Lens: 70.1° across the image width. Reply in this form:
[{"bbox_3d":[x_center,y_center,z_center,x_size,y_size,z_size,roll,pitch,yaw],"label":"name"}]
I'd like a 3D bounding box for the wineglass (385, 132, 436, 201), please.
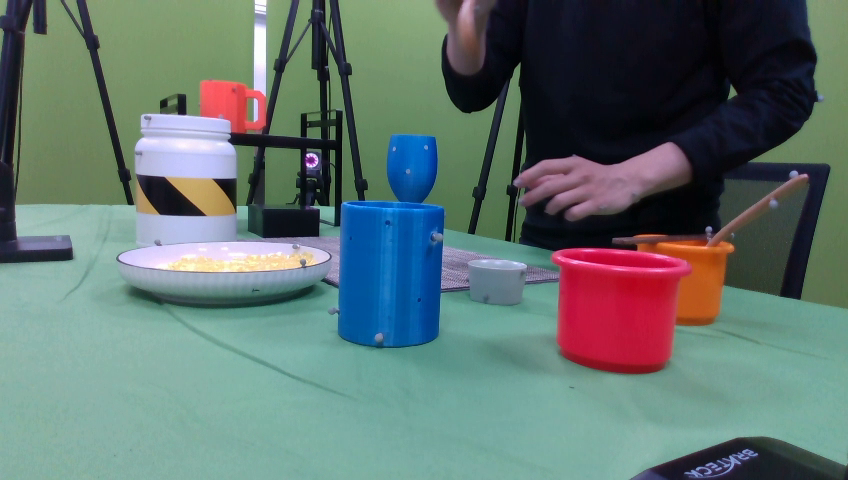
[{"bbox_3d":[-0.020,-0.061,0.842,0.074,0.172,0.073,2,7,0],"label":"wineglass"}]

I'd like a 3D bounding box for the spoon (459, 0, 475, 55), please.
[{"bbox_3d":[0.057,-0.300,0.671,0.022,0.193,0.041,8,-6,-5],"label":"spoon"}]

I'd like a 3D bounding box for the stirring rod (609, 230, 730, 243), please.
[{"bbox_3d":[0.241,-0.004,0.582,0.177,0.006,0.014,-3,9,-33],"label":"stirring rod"}]

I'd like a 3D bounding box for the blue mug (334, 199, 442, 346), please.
[{"bbox_3d":[-0.034,0.020,0.498,0.083,0.106,0.116,0,7,-20],"label":"blue mug"}]

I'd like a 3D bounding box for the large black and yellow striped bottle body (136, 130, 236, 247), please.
[{"bbox_3d":[-0.332,-0.076,0.851,0.131,0.184,0.130,3,8,0],"label":"large black and yellow striped bottle body"}]

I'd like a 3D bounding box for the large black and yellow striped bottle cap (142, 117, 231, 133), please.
[{"bbox_3d":[-0.328,-0.159,0.839,0.115,0.019,0.115,1,9,0],"label":"large black and yellow striped bottle cap"}]

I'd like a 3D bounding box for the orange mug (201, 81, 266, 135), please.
[{"bbox_3d":[-0.377,-0.260,1.198,0.126,0.101,0.083,-3,8,-6],"label":"orange mug"}]

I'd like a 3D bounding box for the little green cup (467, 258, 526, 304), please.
[{"bbox_3d":[0.074,0.042,0.626,0.061,0.038,0.061,3,7,0],"label":"little green cup"}]

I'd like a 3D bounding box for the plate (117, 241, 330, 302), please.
[{"bbox_3d":[-0.203,0.031,0.630,0.209,0.038,0.209,3,7,0],"label":"plate"}]

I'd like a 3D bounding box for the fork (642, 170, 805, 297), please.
[{"bbox_3d":[0.261,0.004,0.545,0.028,0.018,0.207,6,-38,-15],"label":"fork"}]

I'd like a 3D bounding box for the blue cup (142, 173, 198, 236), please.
[{"bbox_3d":[-0.425,-0.060,1.014,0.093,0.100,0.092,4,9,0],"label":"blue cup"}]
